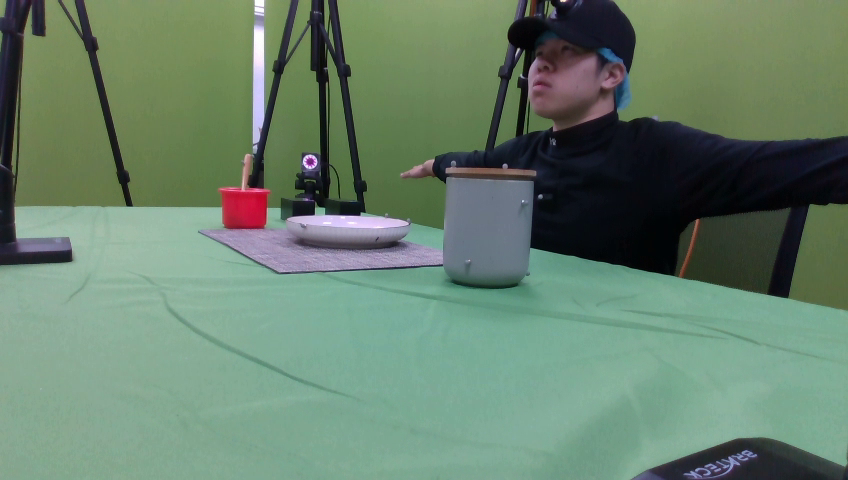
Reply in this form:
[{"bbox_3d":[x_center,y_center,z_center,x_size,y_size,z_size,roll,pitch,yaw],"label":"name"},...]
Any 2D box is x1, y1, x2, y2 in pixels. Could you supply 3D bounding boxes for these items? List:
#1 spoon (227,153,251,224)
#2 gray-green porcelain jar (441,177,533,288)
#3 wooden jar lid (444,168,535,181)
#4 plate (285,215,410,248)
[{"bbox_3d":[-0.363,-0.107,1.211,0.042,0.021,0.193,-1,47,-7],"label":"spoon"},{"bbox_3d":[0.075,-0.010,0.727,0.106,0.126,0.106,2,7,0],"label":"gray-green porcelain jar"},{"bbox_3d":[0.077,-0.074,0.718,0.108,0.020,0.108,1,5,0],"label":"wooden jar lid"},{"bbox_3d":[-0.127,-0.015,1.012,0.208,0.039,0.207,3,7,0],"label":"plate"}]
